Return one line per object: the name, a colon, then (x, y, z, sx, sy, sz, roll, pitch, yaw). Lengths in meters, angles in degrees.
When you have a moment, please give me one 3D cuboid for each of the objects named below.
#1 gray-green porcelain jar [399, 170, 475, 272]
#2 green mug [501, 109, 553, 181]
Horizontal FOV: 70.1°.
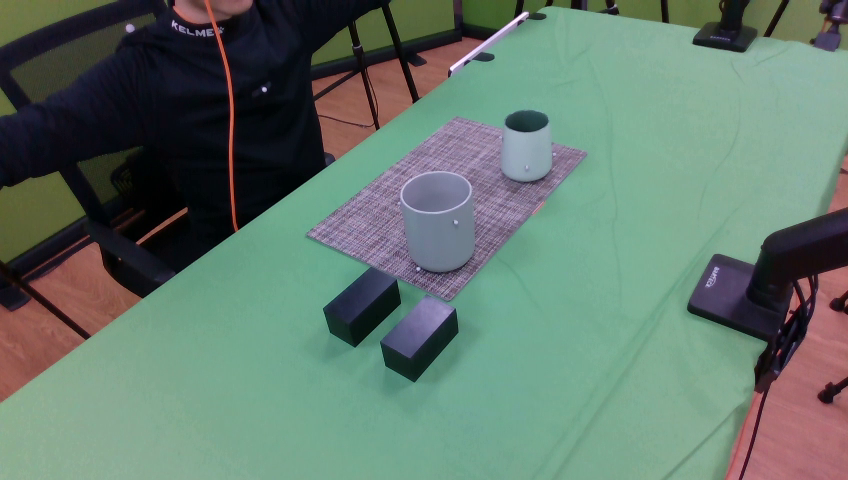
gray-green porcelain jar: (0.023, -0.024, 0.907, 0.106, 0.127, 0.105, -4, 41, 4)
green mug: (0.177, -0.177, 1.079, 0.093, 0.105, 0.124, -13, 41, -6)
